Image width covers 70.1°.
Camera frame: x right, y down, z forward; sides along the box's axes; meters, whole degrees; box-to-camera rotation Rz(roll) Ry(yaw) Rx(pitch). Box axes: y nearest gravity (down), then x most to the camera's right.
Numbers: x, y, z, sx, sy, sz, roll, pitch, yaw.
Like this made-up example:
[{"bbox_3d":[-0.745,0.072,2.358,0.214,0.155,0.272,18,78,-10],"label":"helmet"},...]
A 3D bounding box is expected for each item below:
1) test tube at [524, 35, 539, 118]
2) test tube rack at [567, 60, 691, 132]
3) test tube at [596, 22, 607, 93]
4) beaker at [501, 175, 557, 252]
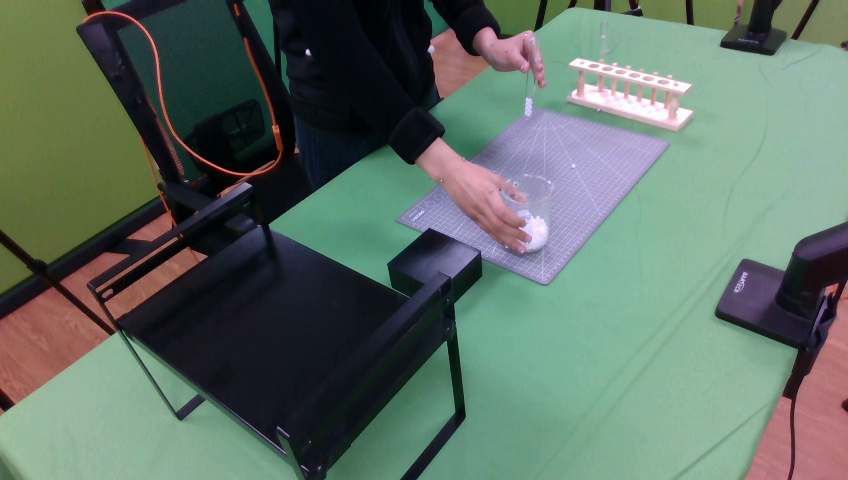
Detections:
[{"bbox_3d":[0.184,-0.277,1.040,0.017,0.151,0.017,-2,42,2],"label":"test tube"},{"bbox_3d":[0.411,-0.300,1.216,0.240,0.085,0.067,26,51,34],"label":"test tube rack"},{"bbox_3d":[0.364,-0.372,1.240,0.017,0.151,0.017,-6,40,5],"label":"test tube"},{"bbox_3d":[0.159,-0.039,0.914,0.084,0.101,0.073,-13,41,-8],"label":"beaker"}]
